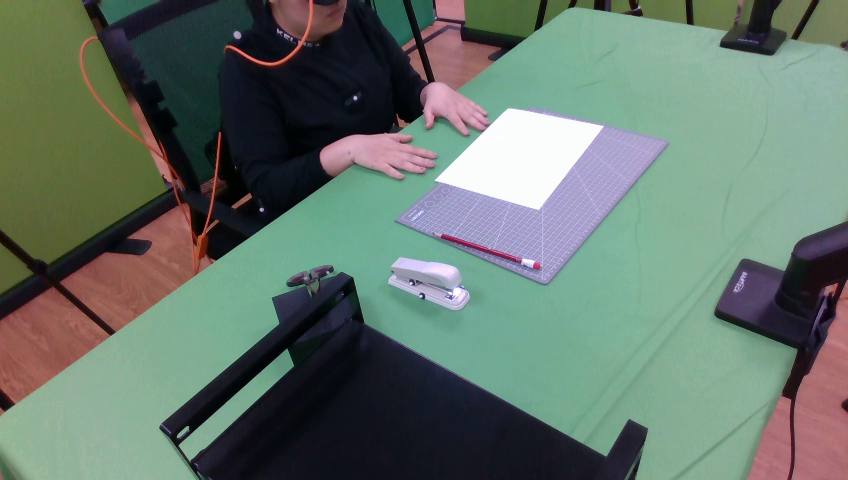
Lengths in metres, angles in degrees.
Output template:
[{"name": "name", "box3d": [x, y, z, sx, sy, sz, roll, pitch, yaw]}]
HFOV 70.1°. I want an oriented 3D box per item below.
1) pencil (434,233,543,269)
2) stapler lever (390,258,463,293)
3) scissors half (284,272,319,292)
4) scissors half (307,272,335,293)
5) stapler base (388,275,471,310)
[{"name": "pencil", "box3d": [0.096, 0.015, 0.949, 0.192, 0.012, 0.012, 18, 46, 29]}, {"name": "stapler lever", "box3d": [0.002, 0.046, 0.881, 0.117, 0.040, 0.027, 17, 44, 29]}, {"name": "scissors half", "box3d": [-0.172, 0.063, 0.868, 0.040, 0.013, 0.174, -10, 6, -22]}, {"name": "scissors half", "box3d": [-0.152, 0.061, 0.872, 0.040, 0.013, 0.175, -2, 5, -4]}, {"name": "stapler base", "box3d": [0.007, 0.066, 0.897, 0.129, 0.024, 0.041, 17, 44, 29]}]
